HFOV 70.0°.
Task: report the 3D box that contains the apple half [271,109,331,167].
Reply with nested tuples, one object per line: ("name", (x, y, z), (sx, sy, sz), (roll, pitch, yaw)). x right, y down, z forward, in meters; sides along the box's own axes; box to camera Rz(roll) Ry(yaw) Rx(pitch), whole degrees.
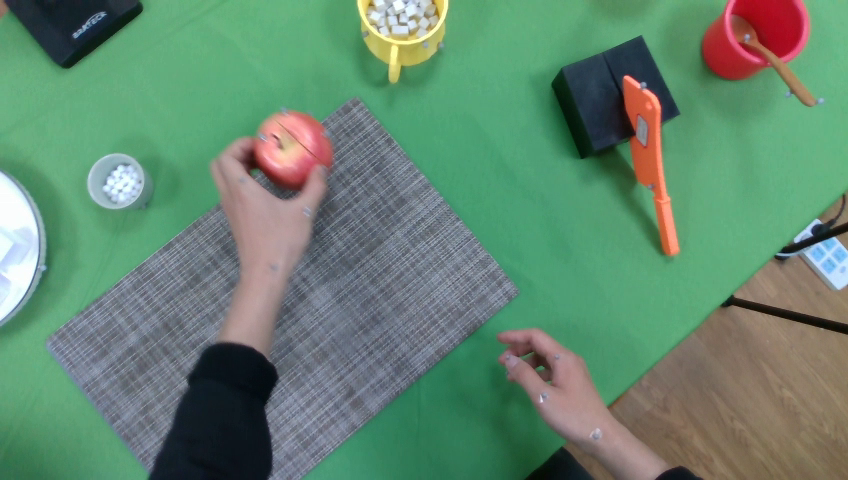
("apple half", (-0.122, -0.114, 0.646), (0.081, 0.081, 0.033), (42, 89, 2))

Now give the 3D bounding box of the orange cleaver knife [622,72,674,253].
("orange cleaver knife", (0.252, -0.084, 0.685), (0.012, 0.076, 0.213), (-20, 117, -1))

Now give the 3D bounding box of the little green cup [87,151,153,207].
("little green cup", (-0.338, -0.066, 0.679), (0.061, 0.038, 0.061), (0, 86, -2))

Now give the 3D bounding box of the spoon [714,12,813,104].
("spoon", (0.373, -0.205, 0.668), (0.041, 0.022, 0.191), (-5, 41, -1))

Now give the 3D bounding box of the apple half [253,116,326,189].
("apple half", (-0.149, -0.085, 0.645), (0.080, 0.075, 0.053), (44, 90, 5))

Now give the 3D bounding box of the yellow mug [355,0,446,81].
("yellow mug", (-0.028, -0.246, 0.691), (0.100, 0.064, 0.130), (8, 87, -2))

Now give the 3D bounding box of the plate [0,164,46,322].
("plate", (-0.519, 0.006, 0.667), (0.208, 0.039, 0.207), (0, 86, -2))
